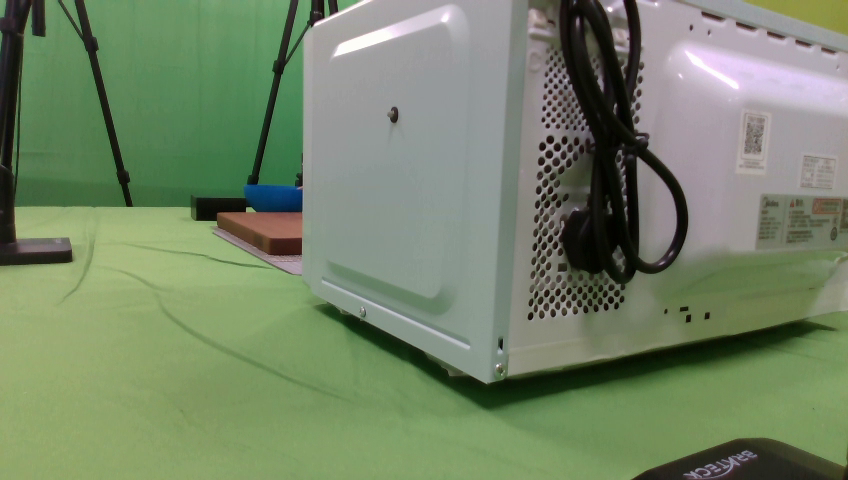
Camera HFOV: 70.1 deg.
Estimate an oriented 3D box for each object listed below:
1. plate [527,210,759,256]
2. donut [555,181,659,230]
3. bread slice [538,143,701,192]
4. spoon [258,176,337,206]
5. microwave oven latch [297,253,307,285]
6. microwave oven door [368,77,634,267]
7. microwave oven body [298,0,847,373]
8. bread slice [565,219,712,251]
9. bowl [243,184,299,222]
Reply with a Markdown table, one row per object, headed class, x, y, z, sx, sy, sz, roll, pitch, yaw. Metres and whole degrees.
| class | x | y | z | sx | sy | sz | roll | pitch | yaw |
| --- | --- | --- | --- | --- | --- | --- | --- | --- | --- |
| plate | 0.203 | -0.009 | 0.580 | 0.208 | 0.039 | 0.207 | 0 | 3 | 0 |
| donut | 0.180 | -0.033 | 0.597 | 0.099 | 0.048 | 0.099 | -2 | 7 | 1 |
| bread slice | 0.191 | -0.070 | 0.577 | 0.107 | 0.018 | 0.133 | 0 | 18 | -33 |
| spoon | -0.279 | -0.112 | 1.357 | 0.194 | 0.021 | 0.041 | -28 | 19 | -27 |
| microwave oven latch | -0.082 | 0.027 | 0.583 | 0.079 | 0.029 | 0.030 | -1 | 7 | -33 |
| microwave oven door | 0.094 | -0.099 | 0.832 | 0.355 | 0.243 | 0.039 | 5 | 8 | 18 |
| microwave oven body | 0.151 | -0.055 | 0.543 | 0.444 | 0.260 | 0.324 | -1 | 7 | -33 |
| bread slice | 0.207 | -0.007 | 0.576 | 0.105 | 0.019 | 0.131 | 2 | 7 | -8 |
| bowl | -0.321 | -0.081 | 1.334 | 0.151 | 0.077 | 0.151 | 3 | 7 | 0 |
